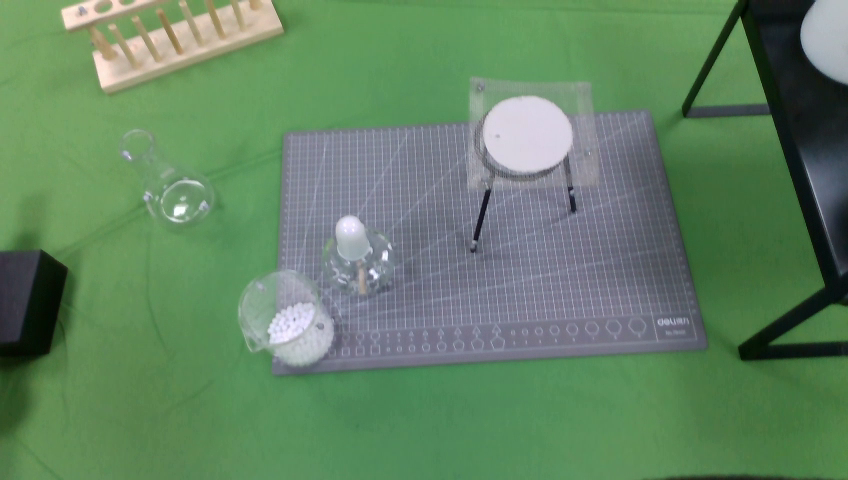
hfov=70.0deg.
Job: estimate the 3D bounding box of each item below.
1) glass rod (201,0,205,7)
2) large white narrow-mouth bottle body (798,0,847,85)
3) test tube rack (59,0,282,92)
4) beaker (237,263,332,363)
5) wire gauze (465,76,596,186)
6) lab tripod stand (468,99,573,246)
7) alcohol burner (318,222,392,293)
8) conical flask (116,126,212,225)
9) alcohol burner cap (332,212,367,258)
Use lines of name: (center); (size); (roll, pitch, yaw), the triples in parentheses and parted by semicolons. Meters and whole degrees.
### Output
glass rod: (-0.294, -0.344, 0.728); (0.008, 0.201, 0.008); (-3, 59, 6)
large white narrow-mouth bottle body: (0.386, -0.216, 0.466); (0.102, 0.196, 0.101); (0, 64, 1)
test tube rack: (-0.316, -0.280, 0.773); (0.242, 0.086, 0.066); (-22, 67, -8)
beaker: (-0.134, 0.079, 0.595); (0.073, 0.101, 0.083); (26, 69, 14)
wire gauze: (0.100, -0.106, 0.578); (0.121, 0.011, 0.124); (2, 66, 1)
lab tripod stand: (0.095, -0.073, 0.638); (0.148, 0.132, 0.147); (0, 64, 0)
alcohol burner: (-0.072, 0.009, 0.617); (0.078, 0.120, 0.077); (0, 64, 0)
conical flask: (-0.287, -0.074, 0.659); (0.075, 0.123, 0.074); (-1, 65, 2)
alcohol burner cap: (-0.074, -0.008, 0.584); (0.034, 0.048, 0.033); (1, 59, -1)
